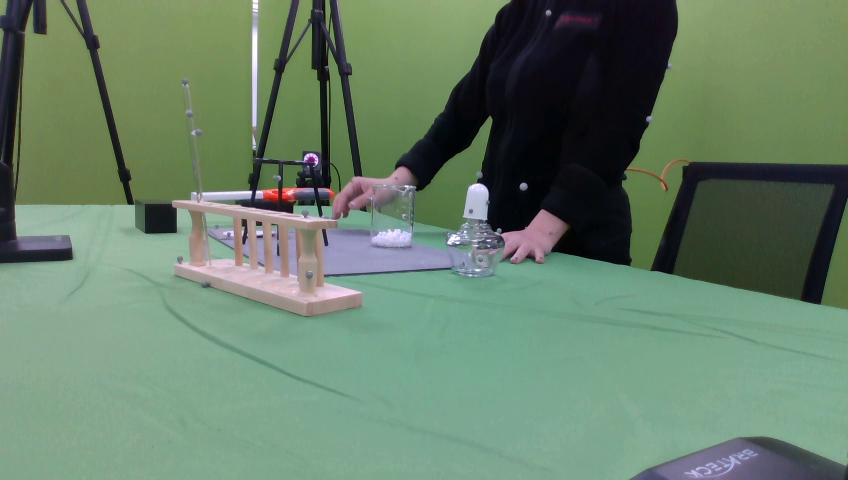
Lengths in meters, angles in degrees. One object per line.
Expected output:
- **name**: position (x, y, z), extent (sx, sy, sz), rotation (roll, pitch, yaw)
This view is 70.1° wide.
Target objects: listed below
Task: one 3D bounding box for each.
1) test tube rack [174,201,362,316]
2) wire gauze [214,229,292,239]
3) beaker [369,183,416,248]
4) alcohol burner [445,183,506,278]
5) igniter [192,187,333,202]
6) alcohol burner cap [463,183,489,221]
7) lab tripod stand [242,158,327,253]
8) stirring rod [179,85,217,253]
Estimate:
- **test tube rack**: position (-0.169, 0.010, 0.622), extent (0.241, 0.085, 0.067), rotation (9, 9, 41)
- **wire gauze**: position (-0.298, -0.013, 1.039), extent (0.122, 0.011, 0.124), rotation (-2, 6, -27)
- **beaker**: position (-0.050, -0.039, 0.971), extent (0.074, 0.100, 0.083), rotation (-1, 9, -25)
- **alcohol burner**: position (0.066, -0.013, 0.770), extent (0.078, 0.119, 0.078), rotation (0, 7, 0)
- **igniter**: position (-0.316, -0.090, 1.213), extent (0.278, 0.025, 0.057), rotation (-5, 13, -31)
- **alcohol burner cap**: position (0.067, -0.048, 0.765), extent (0.034, 0.048, 0.034), rotation (5, 4, 0)
- **lab tripod stand**: position (-0.207, -0.054, 0.895), extent (0.148, 0.131, 0.148), rotation (3, 5, 0)
- **stirring rod**: position (-0.236, -0.073, 0.634), extent (0.006, 0.176, 0.014), rotation (0, 10, 42)
